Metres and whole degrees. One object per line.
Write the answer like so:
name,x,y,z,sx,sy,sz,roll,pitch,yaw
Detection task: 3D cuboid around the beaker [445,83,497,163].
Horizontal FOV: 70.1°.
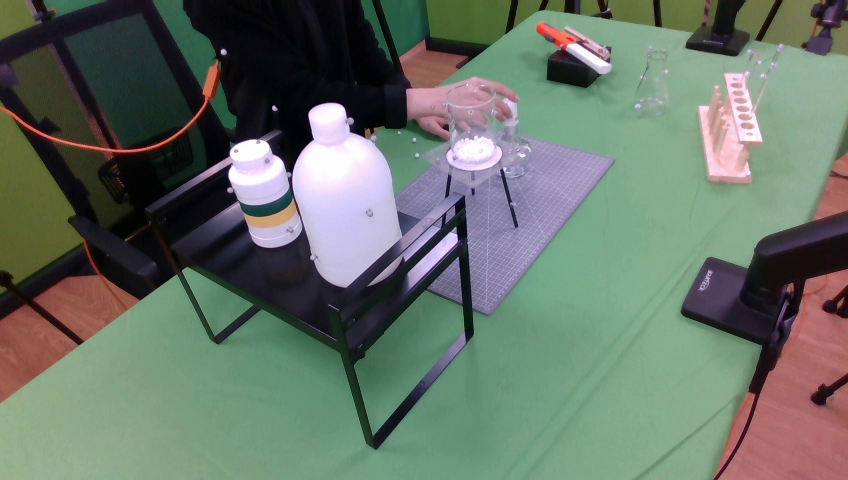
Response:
beaker,0.073,-0.175,0.904,0.074,0.101,0.084,3,41,13

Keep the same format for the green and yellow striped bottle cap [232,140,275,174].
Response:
green and yellow striped bottle cap,-0.192,-0.094,0.680,0.045,0.020,0.045,-5,39,5

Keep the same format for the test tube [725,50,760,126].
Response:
test tube,0.570,-0.269,1.086,0.017,0.151,0.017,-1,45,2

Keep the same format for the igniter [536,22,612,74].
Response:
igniter,0.330,-0.439,1.366,0.057,0.025,0.274,-11,41,-20

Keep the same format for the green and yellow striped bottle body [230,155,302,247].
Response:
green and yellow striped bottle body,-0.188,-0.055,0.714,0.063,0.120,0.063,-4,41,4

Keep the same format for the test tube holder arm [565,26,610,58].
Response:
test tube holder arm,0.369,-0.451,1.373,0.013,0.015,0.177,-39,41,10

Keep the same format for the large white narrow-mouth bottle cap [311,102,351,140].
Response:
large white narrow-mouth bottle cap,-0.089,-0.114,0.578,0.038,0.024,0.037,-4,40,3

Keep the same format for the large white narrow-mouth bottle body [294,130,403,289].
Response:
large white narrow-mouth bottle body,-0.082,-0.047,0.634,0.102,0.195,0.101,-4,40,4

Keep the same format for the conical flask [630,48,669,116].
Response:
conical flask,0.456,-0.317,1.205,0.075,0.122,0.075,-4,41,4

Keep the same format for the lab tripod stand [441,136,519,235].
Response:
lab tripod stand,0.083,-0.086,0.976,0.148,0.132,0.147,-4,42,4

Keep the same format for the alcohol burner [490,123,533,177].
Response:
alcohol burner,0.157,-0.174,1.083,0.078,0.119,0.077,-3,43,4

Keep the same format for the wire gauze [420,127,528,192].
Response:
wire gauze,0.076,-0.131,0.927,0.122,0.011,0.124,-35,49,-25

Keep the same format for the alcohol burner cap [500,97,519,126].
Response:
alcohol burner cap,0.147,-0.223,1.037,0.034,0.048,0.033,-4,43,5

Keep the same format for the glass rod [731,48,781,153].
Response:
glass rod,0.554,-0.228,1.014,0.008,0.200,0.008,1,44,-1

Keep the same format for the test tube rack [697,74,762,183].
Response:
test tube rack,0.547,-0.208,1.095,0.066,0.085,0.242,5,42,15

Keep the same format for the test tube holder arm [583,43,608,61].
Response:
test tube holder arm,0.379,-0.420,1.341,0.010,0.015,0.087,-39,41,10
